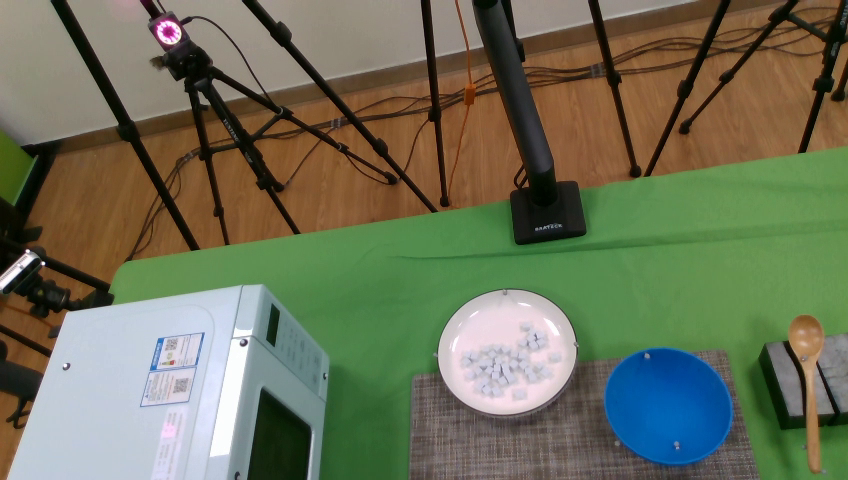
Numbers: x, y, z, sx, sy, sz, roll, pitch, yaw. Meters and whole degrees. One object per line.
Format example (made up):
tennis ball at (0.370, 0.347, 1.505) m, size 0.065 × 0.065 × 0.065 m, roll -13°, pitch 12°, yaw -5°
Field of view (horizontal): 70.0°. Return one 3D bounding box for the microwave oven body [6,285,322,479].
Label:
microwave oven body at (-0.332, 0.325, 0.793) m, size 0.325 × 0.263 × 0.437 m, roll -9°, pitch 55°, yaw 11°

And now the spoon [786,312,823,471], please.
spoon at (0.469, 0.180, 0.739) m, size 0.041 × 0.022 × 0.192 m, roll 5°, pitch 63°, yaw 16°

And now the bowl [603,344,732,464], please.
bowl at (0.308, 0.220, 0.779) m, size 0.151 × 0.077 × 0.150 m, roll -9°, pitch 54°, yaw 12°

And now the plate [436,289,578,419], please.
plate at (0.123, 0.169, 0.900) m, size 0.209 × 0.038 × 0.207 m, roll -9°, pitch 51°, yaw 11°

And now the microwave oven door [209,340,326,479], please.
microwave oven door at (-0.191, 0.332, 0.737) m, size 0.039 × 0.246 × 0.352 m, roll -10°, pitch 54°, yaw 11°

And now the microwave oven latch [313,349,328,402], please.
microwave oven latch at (-0.167, 0.211, 0.943) m, size 0.030 × 0.030 × 0.078 m, roll -9°, pitch 55°, yaw 11°
